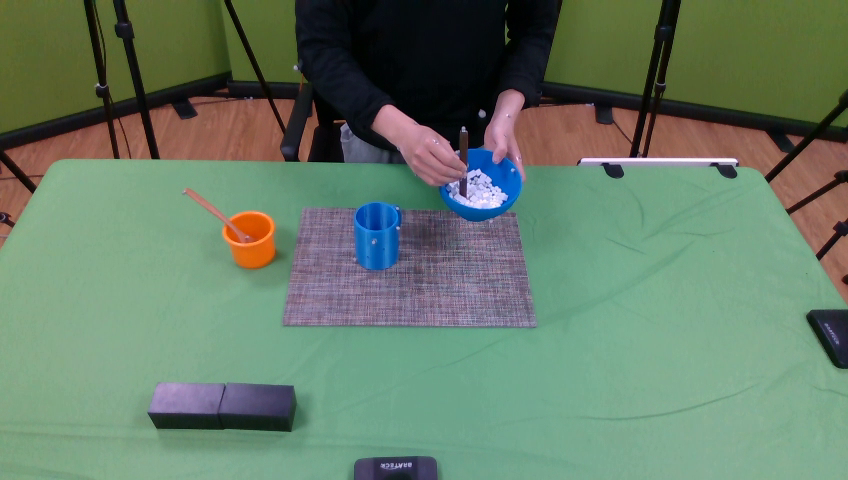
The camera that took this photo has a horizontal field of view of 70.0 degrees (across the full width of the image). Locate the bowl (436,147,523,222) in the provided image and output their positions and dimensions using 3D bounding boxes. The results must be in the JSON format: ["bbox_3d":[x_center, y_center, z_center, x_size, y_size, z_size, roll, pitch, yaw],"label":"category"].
[{"bbox_3d":[0.094,-0.086,1.081,0.151,0.077,0.150,2,51,-2],"label":"bowl"}]

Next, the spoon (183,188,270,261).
[{"bbox_3d":[-0.360,-0.029,1.110,0.021,0.194,0.041,-21,31,41],"label":"spoon"}]

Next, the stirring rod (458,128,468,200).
[{"bbox_3d":[0.065,-0.123,1.019,0.014,0.177,0.006,9,56,9],"label":"stirring rod"}]

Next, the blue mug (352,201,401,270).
[{"bbox_3d":[-0.082,-0.017,1.144,0.082,0.106,0.116,30,51,22],"label":"blue mug"}]
